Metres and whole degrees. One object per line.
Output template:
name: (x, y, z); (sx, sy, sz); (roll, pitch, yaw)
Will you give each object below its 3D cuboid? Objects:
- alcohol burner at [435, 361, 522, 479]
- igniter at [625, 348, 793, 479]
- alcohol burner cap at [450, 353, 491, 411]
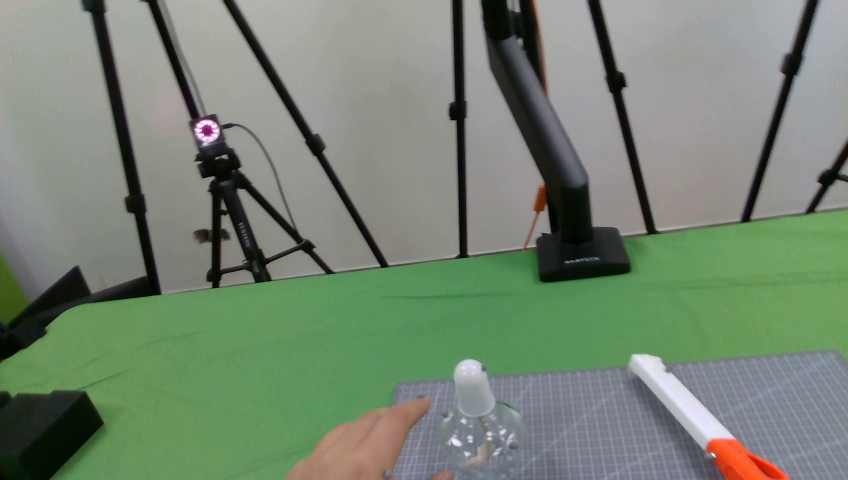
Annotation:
alcohol burner: (0.045, 0.149, 0.528); (0.078, 0.120, 0.077); (-9, 28, 5)
igniter: (0.246, 0.168, 0.492); (0.057, 0.025, 0.274); (6, 20, -15)
alcohol burner cap: (0.038, 0.117, 0.513); (0.034, 0.048, 0.033); (-9, 29, 5)
